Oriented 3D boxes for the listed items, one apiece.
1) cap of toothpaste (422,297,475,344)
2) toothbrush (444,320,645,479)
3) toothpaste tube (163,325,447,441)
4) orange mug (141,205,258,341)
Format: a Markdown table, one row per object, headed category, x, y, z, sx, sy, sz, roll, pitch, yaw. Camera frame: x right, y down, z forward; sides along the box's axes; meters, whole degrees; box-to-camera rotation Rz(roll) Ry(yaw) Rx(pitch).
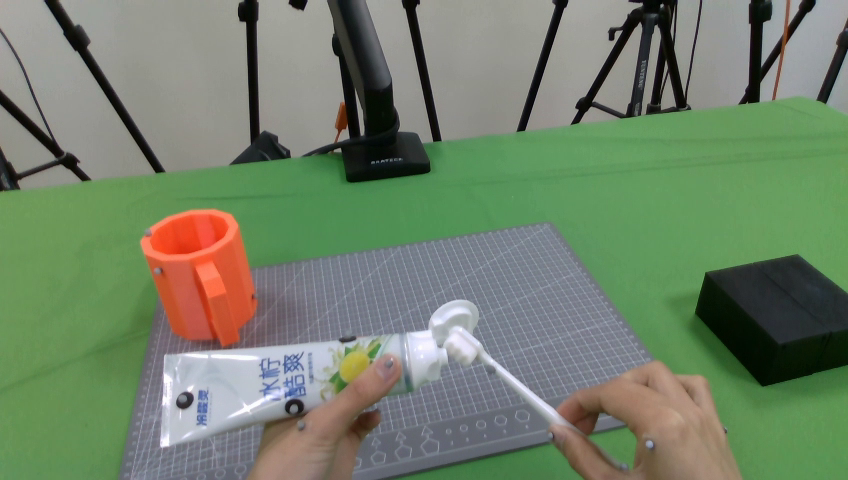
| category | x | y | z | sx | sy | sz | roll | pitch | yaw |
| --- | --- | --- | --- | --- | --- | --- | --- | --- | --- |
| cap of toothpaste | 0.017 | 0.052 | 0.380 | 0.037 | 0.037 | 0.011 | -14 | 35 | -15 |
| toothbrush | 0.084 | 0.112 | 0.363 | 0.181 | 0.014 | 0.016 | 40 | 42 | 3 |
| toothpaste tube | -0.068 | 0.075 | 0.355 | 0.165 | 0.035 | 0.054 | -8 | 57 | -6 |
| orange mug | -0.206 | 0.036 | 0.576 | 0.083 | 0.101 | 0.125 | -21 | 35 | -24 |
